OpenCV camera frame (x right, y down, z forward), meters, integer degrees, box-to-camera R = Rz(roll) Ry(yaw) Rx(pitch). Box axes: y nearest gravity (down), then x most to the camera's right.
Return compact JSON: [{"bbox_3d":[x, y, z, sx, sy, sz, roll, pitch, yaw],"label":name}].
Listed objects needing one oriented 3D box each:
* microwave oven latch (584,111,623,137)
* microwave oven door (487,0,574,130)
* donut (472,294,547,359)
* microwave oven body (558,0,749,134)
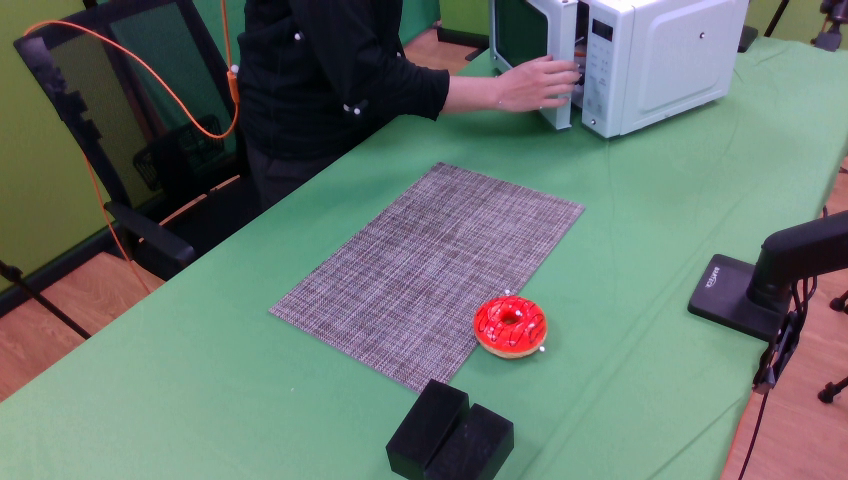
[{"bbox_3d":[0.337,-0.222,1.142,0.030,0.029,0.078,-21,42,-14],"label":"microwave oven latch"},{"bbox_3d":[0.208,-0.412,1.225,0.039,0.245,0.353,-16,41,-10],"label":"microwave oven door"},{"bbox_3d":[0.114,0.114,0.803,0.099,0.048,0.098,0,40,1],"label":"donut"},{"bbox_3d":[0.382,-0.444,1.246,0.327,0.261,0.437,-22,42,-16],"label":"microwave oven body"}]
